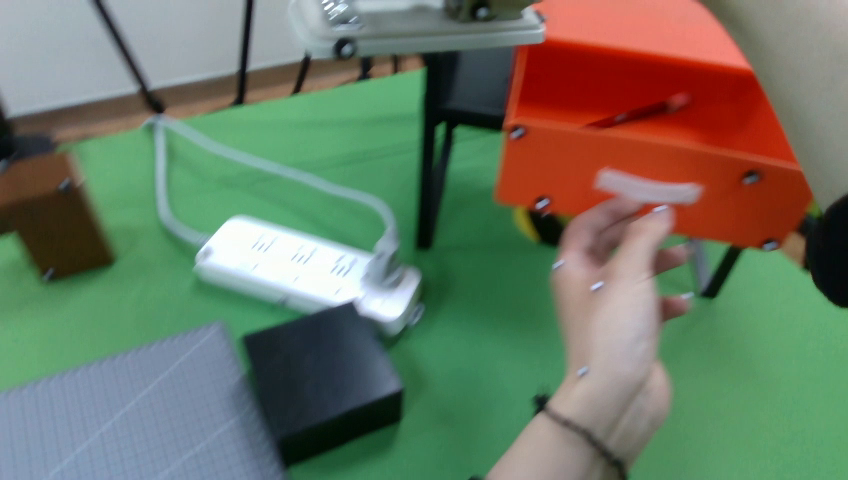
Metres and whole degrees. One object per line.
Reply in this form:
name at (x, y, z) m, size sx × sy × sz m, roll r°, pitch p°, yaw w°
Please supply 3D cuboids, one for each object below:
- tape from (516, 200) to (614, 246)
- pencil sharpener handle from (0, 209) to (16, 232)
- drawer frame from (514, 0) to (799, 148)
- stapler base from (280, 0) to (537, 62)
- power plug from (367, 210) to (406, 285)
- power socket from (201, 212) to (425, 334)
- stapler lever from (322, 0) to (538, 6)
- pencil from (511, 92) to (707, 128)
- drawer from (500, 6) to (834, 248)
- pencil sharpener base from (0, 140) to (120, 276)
tape at (0.165, -0.051, 0.681) m, size 0.117 × 0.053 × 0.115 m, roll 3°, pitch 46°, yaw -3°
pencil sharpener handle at (-0.388, -0.024, 0.539) m, size 0.031 × 0.068 × 0.036 m, roll -21°, pitch 72°, yaw -23°
drawer frame at (0.192, -0.186, 0.542) m, size 0.201 × 0.083 × 0.212 m, roll 10°, pitch 44°, yaw 5°
stapler base at (-0.003, -0.112, 0.294) m, size 0.131 × 0.024 × 0.041 m, roll -12°, pitch 60°, yaw -25°
power plug at (-0.026, 0.014, 0.576) m, size 0.035 × 0.053 × 0.072 m, roll 25°, pitch 49°, yaw 19°
power socket at (-0.107, 0.029, 0.587) m, size 0.226 × 0.033 × 0.072 m, roll 17°, pitch 45°, yaw 11°
stapler lever at (0.004, -0.128, 0.276) m, size 0.118 × 0.040 × 0.026 m, roll -12°, pitch 60°, yaw -25°
pencil at (0.155, -0.105, 0.494) m, size 0.194 × 0.012 × 0.012 m, roll -12°, pitch 47°, yaw -21°
drawer at (0.169, -0.103, 0.461) m, size 0.194 × 0.074 × 0.210 m, roll 11°, pitch 44°, yaw 6°
pencil sharpener base at (-0.342, -0.028, 0.566) m, size 0.077 × 0.108 × 0.060 m, roll -21°, pitch 51°, yaw -23°
